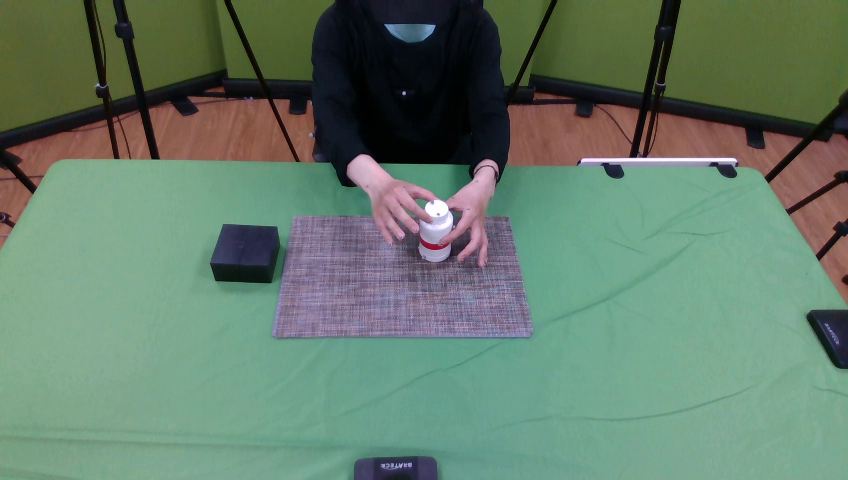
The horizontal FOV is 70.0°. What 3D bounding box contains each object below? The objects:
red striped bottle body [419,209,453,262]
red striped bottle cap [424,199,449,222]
[{"bbox_3d":[0.022,-0.019,1.138,0.063,0.120,0.062,0,50,0],"label":"red striped bottle body"},{"bbox_3d":[0.023,-0.054,1.098,0.044,0.018,0.044,0,50,0],"label":"red striped bottle cap"}]
